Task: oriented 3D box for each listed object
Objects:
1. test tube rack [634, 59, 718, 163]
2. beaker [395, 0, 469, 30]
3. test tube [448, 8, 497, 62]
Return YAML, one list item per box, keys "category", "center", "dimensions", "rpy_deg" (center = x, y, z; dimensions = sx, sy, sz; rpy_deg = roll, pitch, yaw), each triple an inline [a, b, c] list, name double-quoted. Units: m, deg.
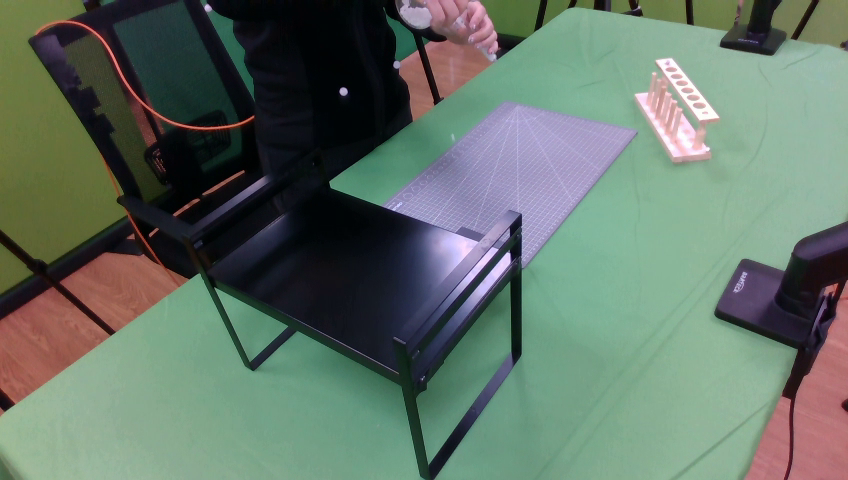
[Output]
- category: "test tube rack"
  center: [0.470, -0.250, 1.148]
  dimensions: [0.067, 0.085, 0.241]
  rpy_deg: [-6, 40, 3]
- category: "beaker"
  center: [0.013, -0.352, 0.876]
  dimensions: [0.073, 0.084, 0.100]
  rpy_deg: [24, 49, 28]
- category: "test tube"
  center: [0.082, -0.332, 0.989]
  dimensions: [0.017, 0.151, 0.017]
  rpy_deg: [-9, 71, 30]
